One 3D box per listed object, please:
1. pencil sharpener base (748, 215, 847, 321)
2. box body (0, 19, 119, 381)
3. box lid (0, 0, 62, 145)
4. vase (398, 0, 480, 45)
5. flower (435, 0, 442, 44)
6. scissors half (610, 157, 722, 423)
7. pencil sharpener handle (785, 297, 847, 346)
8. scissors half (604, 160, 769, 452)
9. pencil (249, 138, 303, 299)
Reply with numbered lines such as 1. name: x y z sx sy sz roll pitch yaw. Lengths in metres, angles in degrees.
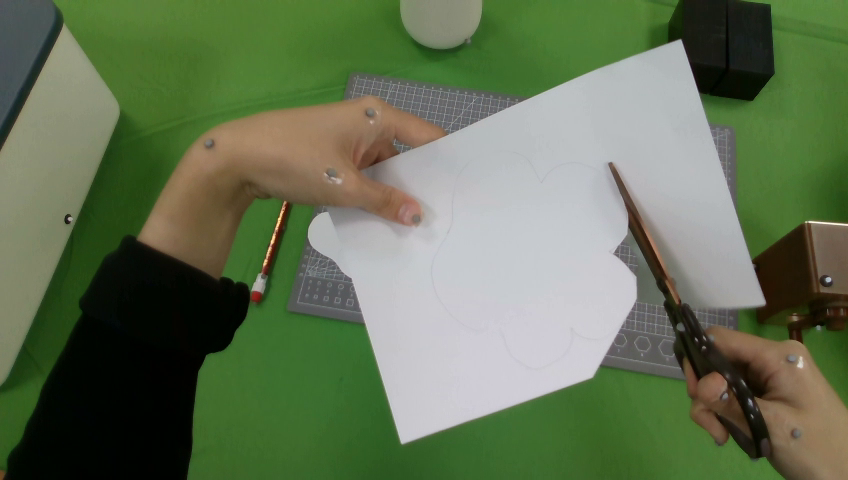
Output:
1. pencil sharpener base: 0.363 0.033 0.574 0.061 0.108 0.076 5 69 2
2. box body: -0.491 -0.053 0.579 0.254 0.161 0.361 9 69 4
3. box lid: -0.492 -0.083 0.510 0.263 0.015 0.369 9 68 3
4. vase: 0.016 -0.309 0.659 0.098 0.201 0.097 0 67 1
5. flower: 0.011 -0.353 0.587 0.044 0.365 0.038 2 50 5
6. scissors half: 0.140 0.031 0.349 0.013 0.040 0.176 -25 107 5
7. pencil sharpener handle: 0.355 0.075 0.544 0.036 0.068 0.030 10 68 -11
8. scissors half: 0.139 0.033 0.327 0.013 0.040 0.174 -26 82 0
9. pencil: -0.155 -0.028 0.651 0.012 0.012 0.193 10 68 5
